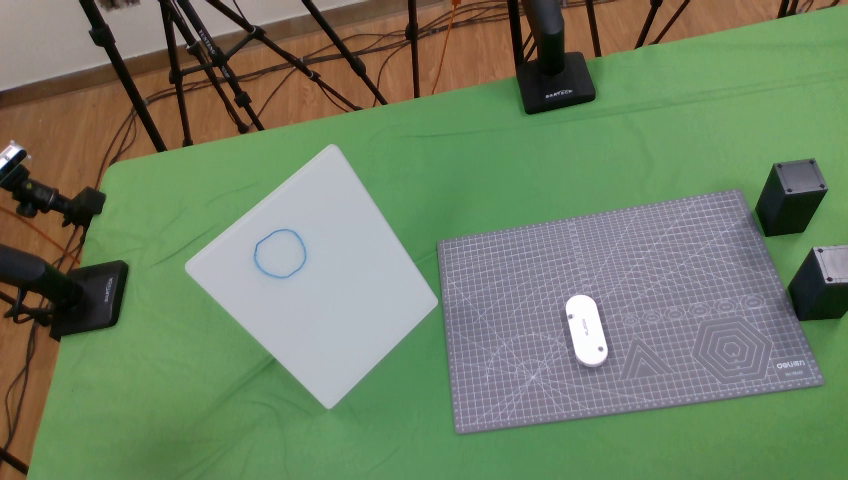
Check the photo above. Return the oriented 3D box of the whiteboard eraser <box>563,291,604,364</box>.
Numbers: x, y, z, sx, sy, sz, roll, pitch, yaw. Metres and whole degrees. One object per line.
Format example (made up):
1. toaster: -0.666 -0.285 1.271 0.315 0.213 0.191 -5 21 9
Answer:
1. whiteboard eraser: 0.212 0.115 0.807 0.041 0.019 0.100 -10 58 7

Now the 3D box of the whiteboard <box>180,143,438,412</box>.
1. whiteboard: -0.158 0.040 0.812 0.217 0.309 0.142 -44 39 -14
